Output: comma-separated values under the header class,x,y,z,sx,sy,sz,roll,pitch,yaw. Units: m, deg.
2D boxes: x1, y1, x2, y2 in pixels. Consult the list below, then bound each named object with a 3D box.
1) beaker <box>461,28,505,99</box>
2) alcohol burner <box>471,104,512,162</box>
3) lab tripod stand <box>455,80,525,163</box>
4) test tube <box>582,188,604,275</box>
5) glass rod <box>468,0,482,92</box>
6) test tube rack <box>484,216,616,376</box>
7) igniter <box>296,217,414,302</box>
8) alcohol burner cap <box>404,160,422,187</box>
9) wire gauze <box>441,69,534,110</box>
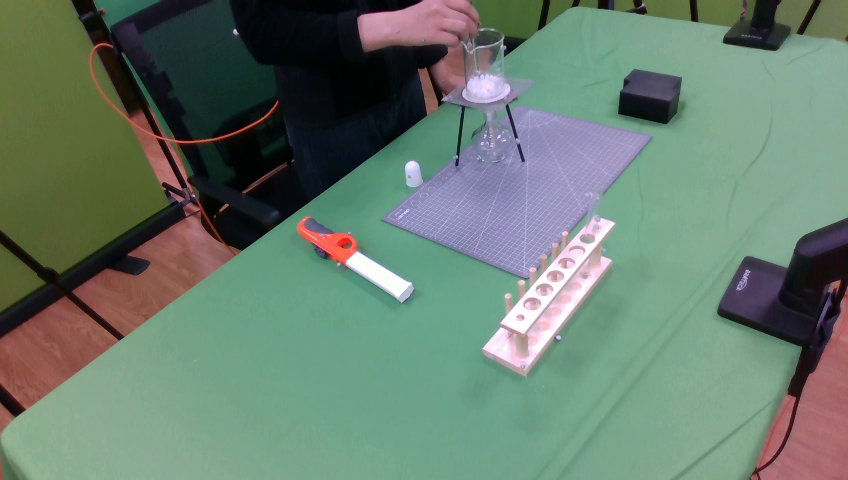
class,x,y,z,sx,sy,sz,roll,pitch,yaw
beaker,0.103,-0.304,1.051,0.073,0.101,0.084,19,48,29
alcohol burner,0.125,-0.207,1.126,0.078,0.119,0.077,-5,43,5
lab tripod stand,0.121,-0.220,1.126,0.148,0.132,0.147,-4,39,4
test tube,0.229,-0.007,0.821,0.017,0.151,0.017,-3,42,3
glass rod,0.084,-0.333,1.006,0.008,0.201,0.008,-6,46,7
test tube rack,0.174,0.064,0.823,0.066,0.085,0.243,23,49,32
igniter,-0.121,0.025,0.970,0.274,0.025,0.057,29,63,37
alcohol burner cap,-0.022,-0.125,1.118,0.034,0.048,0.033,-4,40,4
wire gauze,0.114,-0.268,1.082,0.120,0.011,0.125,22,47,29
